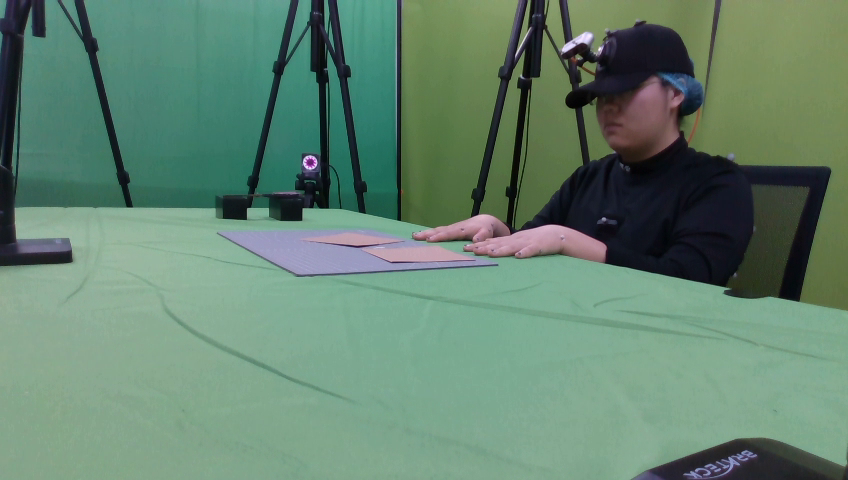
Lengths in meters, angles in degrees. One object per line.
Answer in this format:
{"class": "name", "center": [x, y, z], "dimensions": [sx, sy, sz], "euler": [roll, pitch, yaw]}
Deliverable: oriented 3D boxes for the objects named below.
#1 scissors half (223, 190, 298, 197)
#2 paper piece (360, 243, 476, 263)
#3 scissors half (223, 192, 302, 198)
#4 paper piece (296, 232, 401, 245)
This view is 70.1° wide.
{"class": "scissors half", "center": [-0.372, -0.105, 1.381], "dimensions": [0.176, 0.013, 0.040], "euler": [-6, 18, -38]}
{"class": "paper piece", "center": [-0.012, 0.020, 0.914], "dimensions": [0.136, 0.008, 0.137], "euler": [-4, 10, -24]}
{"class": "scissors half", "center": [-0.362, -0.100, 1.364], "dimensions": [0.176, 0.013, 0.040], "euler": [-2, 11, -23]}
{"class": "paper piece", "center": [-0.127, -0.003, 1.052], "dimensions": [0.135, 0.004, 0.136], "euler": [6, 7, 33]}
